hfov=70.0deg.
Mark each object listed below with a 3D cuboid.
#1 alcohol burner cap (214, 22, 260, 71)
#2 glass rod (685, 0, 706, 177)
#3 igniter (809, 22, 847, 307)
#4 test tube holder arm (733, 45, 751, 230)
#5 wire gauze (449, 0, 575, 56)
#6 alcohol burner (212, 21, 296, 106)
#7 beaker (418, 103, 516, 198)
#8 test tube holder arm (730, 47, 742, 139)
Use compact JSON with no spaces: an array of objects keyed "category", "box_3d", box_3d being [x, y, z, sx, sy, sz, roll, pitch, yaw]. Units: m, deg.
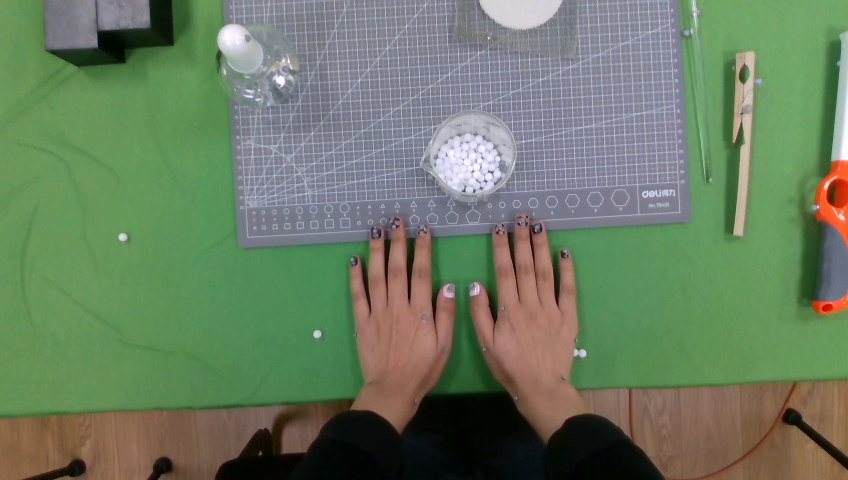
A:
[{"category":"alcohol burner cap","box_3d":[-0.160,-0.166,0.512,0.034,0.048,0.034,0,86,-3]},{"category":"glass rod","box_3d":[0.268,-0.162,0.599,0.008,0.008,0.200,-6,93,0]},{"category":"igniter","box_3d":[0.407,-0.072,0.589,0.057,0.025,0.276,5,91,-9]},{"category":"test tube holder arm","box_3d":[0.312,-0.099,0.593,0.013,0.015,0.178,1,91,36]},{"category":"wire gauze","box_3d":[0.091,-0.251,0.597,0.125,0.011,0.121,8,92,0]},{"category":"alcohol burner","box_3d":[-0.159,-0.164,0.548,0.078,0.119,0.078,0,89,3]},{"category":"beaker","box_3d":[0.037,-0.075,0.555,0.084,0.100,0.074,-11,89,2]},{"category":"test tube holder arm","box_3d":[0.307,-0.144,0.595,0.010,0.015,0.088,1,92,36]}]
